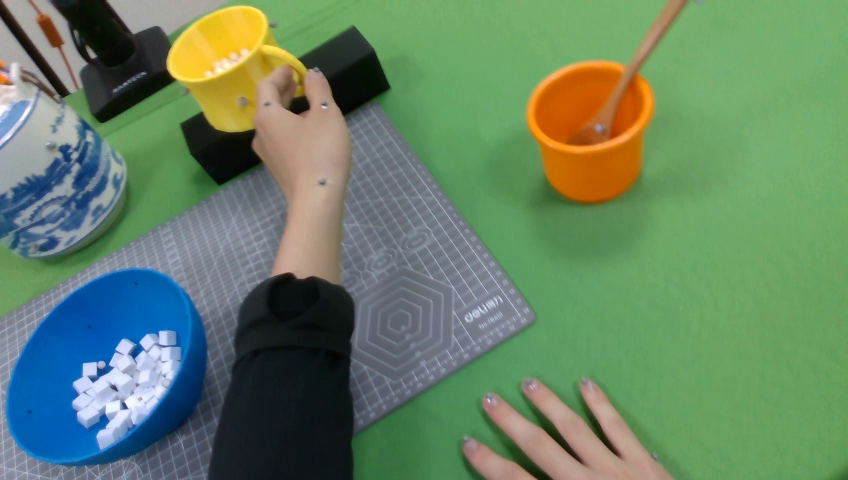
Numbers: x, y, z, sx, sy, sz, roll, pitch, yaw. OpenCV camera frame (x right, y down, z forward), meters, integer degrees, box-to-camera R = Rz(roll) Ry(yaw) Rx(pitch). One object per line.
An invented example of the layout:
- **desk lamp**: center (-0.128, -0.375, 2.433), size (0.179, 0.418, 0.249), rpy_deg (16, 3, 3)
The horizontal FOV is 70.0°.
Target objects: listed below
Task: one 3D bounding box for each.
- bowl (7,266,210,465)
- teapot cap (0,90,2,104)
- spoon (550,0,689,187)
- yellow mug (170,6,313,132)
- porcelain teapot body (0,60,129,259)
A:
- **bowl**: center (-0.223, 0.103, 0.466), size (0.151, 0.077, 0.150), rpy_deg (-8, 56, 13)
- **teapot cap**: center (-0.410, -0.109, 0.529), size (0.085, 0.044, 0.084), rpy_deg (-9, 58, 15)
- **spoon**: center (0.153, -0.121, 0.452), size (0.022, 0.194, 0.041), rpy_deg (-5, 44, -42)
- **yellow mug**: center (-0.163, -0.159, 0.566), size (0.130, 0.064, 0.099), rpy_deg (8, 62, 22)
- **porcelain teapot body**: center (-0.425, -0.077, 0.561), size (0.205, 0.228, 0.143), rpy_deg (-27, 55, 1)
